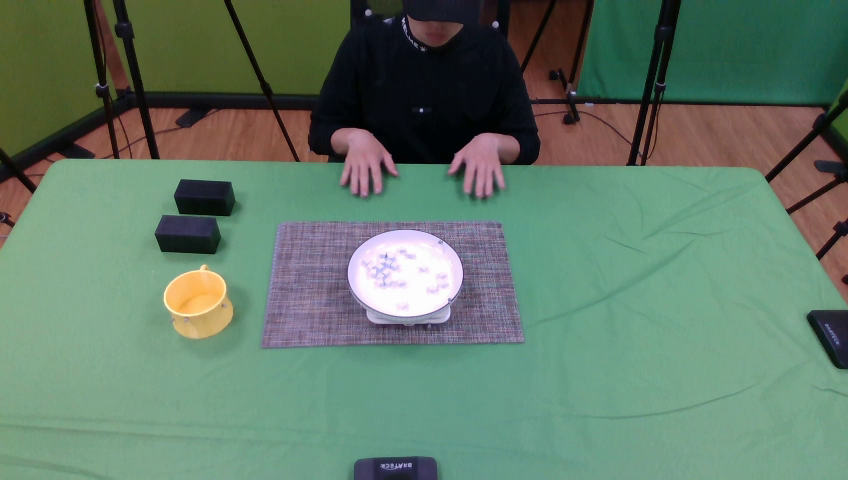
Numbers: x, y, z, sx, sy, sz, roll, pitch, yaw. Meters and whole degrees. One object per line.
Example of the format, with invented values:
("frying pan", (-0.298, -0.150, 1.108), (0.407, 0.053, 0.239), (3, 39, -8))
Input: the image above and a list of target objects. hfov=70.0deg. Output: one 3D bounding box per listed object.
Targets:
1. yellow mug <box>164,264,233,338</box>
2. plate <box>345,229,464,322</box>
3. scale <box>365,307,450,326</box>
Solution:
("yellow mug", (-0.384, 0.097, 1.043), (0.100, 0.064, 0.130), (-1, 45, -5))
("plate", (-0.034, 0.065, 1.073), (0.209, 0.038, 0.208), (2, 46, -2))
("scale", (-0.032, 0.071, 1.113), (0.149, 0.032, 0.199), (1, 46, -4))
